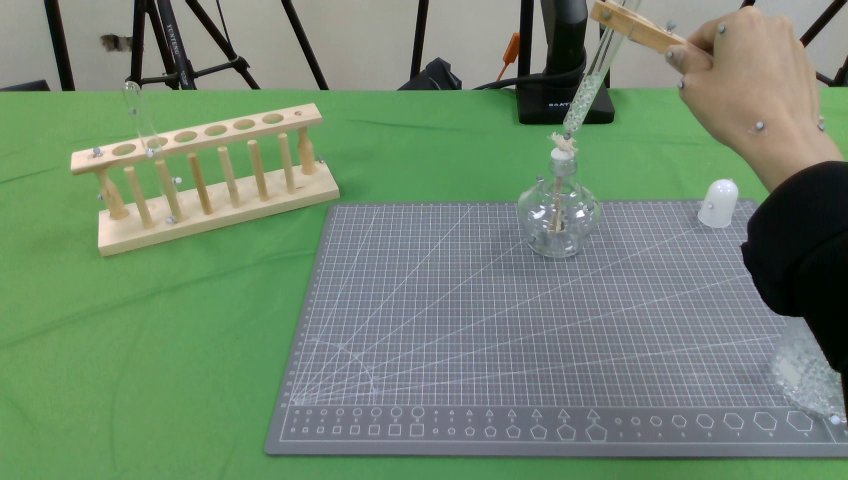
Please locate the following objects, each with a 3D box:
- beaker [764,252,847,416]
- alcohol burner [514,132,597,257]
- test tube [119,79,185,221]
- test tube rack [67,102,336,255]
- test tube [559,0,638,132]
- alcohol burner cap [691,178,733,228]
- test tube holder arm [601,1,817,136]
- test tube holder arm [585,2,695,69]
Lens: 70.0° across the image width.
[{"bbox_3d":[0.291,0.068,0.430,0.074,0.101,0.083,-19,42,-19],"label":"beaker"},{"bbox_3d":[0.122,-0.044,0.559,0.078,0.120,0.077,-2,39,2],"label":"alcohol burner"},{"bbox_3d":[-0.257,-0.081,0.576,0.017,0.152,0.017,-2,39,2],"label":"test tube"},{"bbox_3d":[-0.222,-0.067,0.628,0.243,0.086,0.066,-16,42,-16],"label":"test tube rack"},{"bbox_3d":[0.139,-0.149,0.467,0.017,0.151,0.017,11,40,-9],"label":"test tube"},{"bbox_3d":[0.288,-0.039,0.603,0.034,0.048,0.033,-1,40,1],"label":"alcohol burner cap"},{"bbox_3d":[0.189,-0.125,0.423,0.013,0.015,0.176,-21,52,-36],"label":"test tube holder arm"},{"bbox_3d":[0.156,-0.150,0.440,0.087,0.015,0.010,39,44,25],"label":"test tube holder arm"}]
